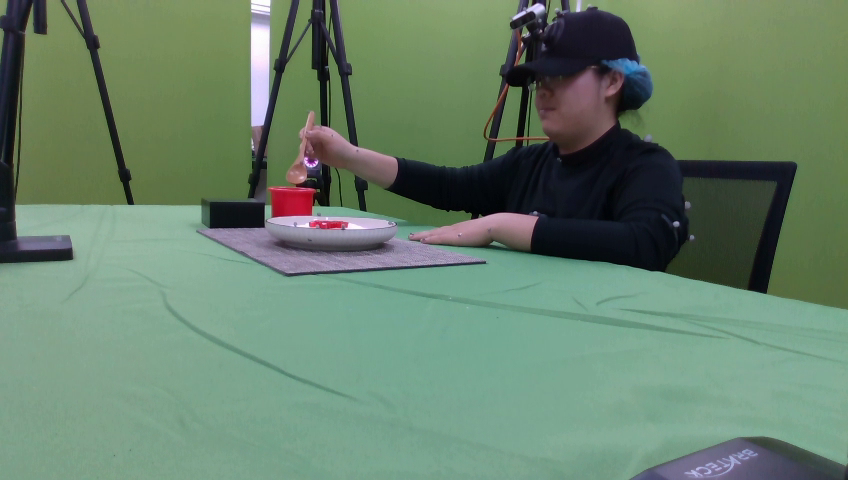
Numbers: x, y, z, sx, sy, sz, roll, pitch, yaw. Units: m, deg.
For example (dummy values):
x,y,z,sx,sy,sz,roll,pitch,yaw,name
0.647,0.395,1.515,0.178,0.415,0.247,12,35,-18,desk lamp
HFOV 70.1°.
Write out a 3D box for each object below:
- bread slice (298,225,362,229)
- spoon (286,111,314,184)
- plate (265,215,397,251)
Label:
x,y,z,sx,sy,sz,roll,pitch,yaw,name
-0.154,-0.012,0.973,0.132,0.019,0.104,-1,7,-31,bread slice
-0.252,-0.196,1.267,0.041,0.193,0.021,8,-25,0,spoon
-0.147,-0.012,0.963,0.209,0.038,0.209,3,7,0,plate
